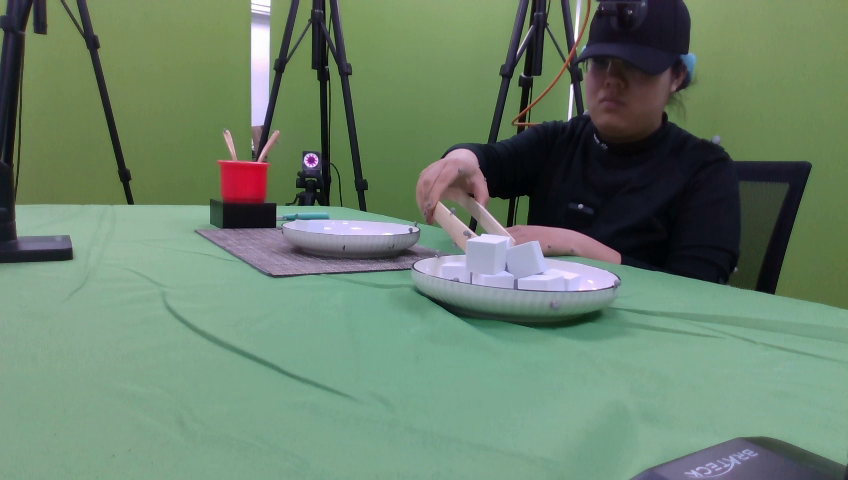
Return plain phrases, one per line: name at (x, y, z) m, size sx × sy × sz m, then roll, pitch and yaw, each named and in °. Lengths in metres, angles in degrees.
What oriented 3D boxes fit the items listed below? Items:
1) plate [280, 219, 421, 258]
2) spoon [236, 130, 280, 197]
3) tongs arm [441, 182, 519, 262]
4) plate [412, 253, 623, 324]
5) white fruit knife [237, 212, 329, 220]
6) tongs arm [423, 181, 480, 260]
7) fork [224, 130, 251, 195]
plate at (-0.108, -0.002, 0.902) m, size 0.208 × 0.039 × 0.207 m, roll 3°, pitch 7°, yaw 0°
spoon at (-0.321, -0.154, 1.192) m, size 0.041 × 0.193 × 0.022 m, roll 0°, pitch -37°, yaw 20°
tongs arm at (0.066, -0.035, 0.792) m, size 0.028 × 0.028 × 0.386 m, roll -1°, pitch 14°, yaw -7°
plate at (0.090, 0.047, 0.609) m, size 0.209 × 0.038 × 0.209 m, roll 2°, pitch 7°, yaw 0°
white fruit knife at (-0.304, -0.050, 1.328) m, size 0.208 × 0.016 × 0.027 m, roll -3°, pitch -19°, yaw -29°
tongs arm at (0.039, -0.037, 0.788) m, size 0.051 × 0.026 × 0.383 m, roll 1°, pitch 14°, yaw -11°
fork at (-0.372, -0.155, 1.193) m, size 0.028 × 0.018 × 0.206 m, roll -17°, pitch 54°, yaw -14°
